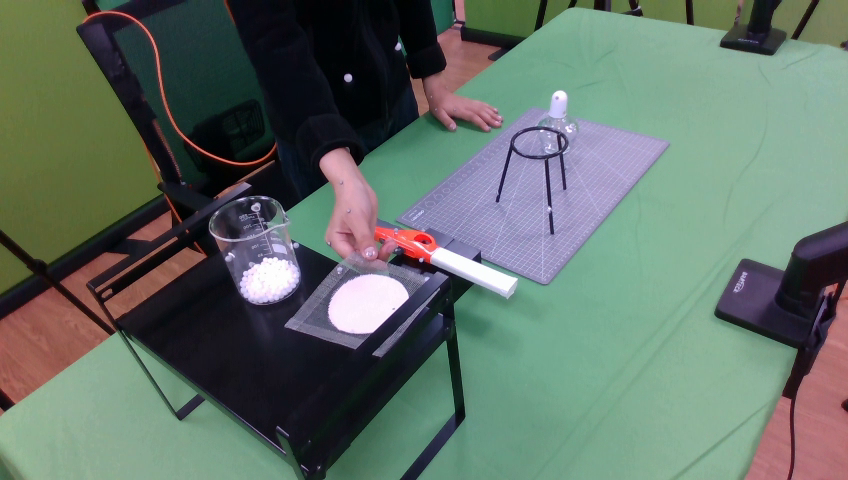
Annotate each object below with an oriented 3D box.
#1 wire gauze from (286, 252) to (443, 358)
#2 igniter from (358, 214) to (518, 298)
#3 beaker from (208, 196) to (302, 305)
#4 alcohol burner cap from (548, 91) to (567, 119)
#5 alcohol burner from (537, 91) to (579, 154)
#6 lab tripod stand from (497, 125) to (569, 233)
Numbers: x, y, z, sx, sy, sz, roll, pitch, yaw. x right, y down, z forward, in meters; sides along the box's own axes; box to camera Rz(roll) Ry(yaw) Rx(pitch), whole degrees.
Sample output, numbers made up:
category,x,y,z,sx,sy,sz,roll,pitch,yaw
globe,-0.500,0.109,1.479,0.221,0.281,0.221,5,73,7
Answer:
category,x,y,z,sx,sy,sz,roll,pitch,yaw
wire gauze,-0.062,0.066,0.639,0.120,0.011,0.125,17,46,26
igniter,0.009,0.018,0.876,0.274,0.025,0.057,23,46,28
beaker,-0.173,0.014,0.647,0.084,0.101,0.073,-1,41,8
alcohol burner cap,0.245,-0.247,1.098,0.034,0.048,0.033,-1,45,1
alcohol burner,0.248,-0.220,1.122,0.078,0.119,0.077,-6,39,5
lab tripod stand,0.189,-0.104,0.979,0.148,0.132,0.147,-3,41,3
